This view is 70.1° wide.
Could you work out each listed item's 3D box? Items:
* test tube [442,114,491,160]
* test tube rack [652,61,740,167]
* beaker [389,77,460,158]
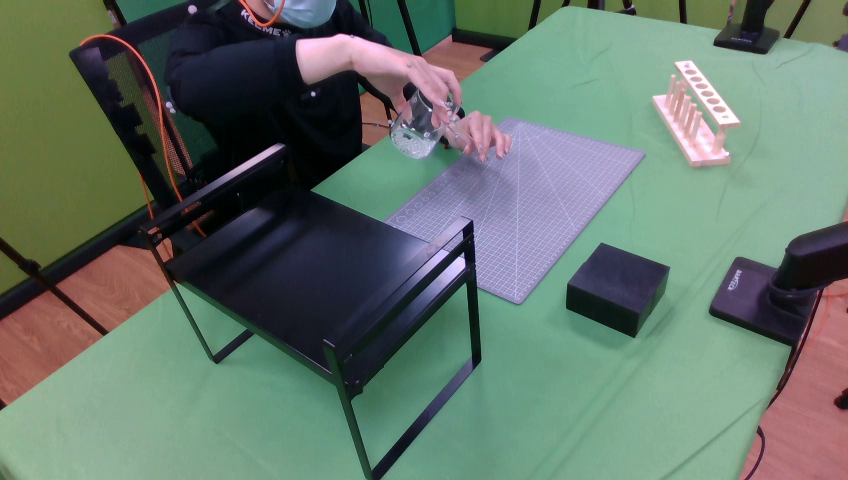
[{"bbox_3d":[0.073,-0.168,1.001,0.017,0.151,0.017,-12,66,30],"label":"test tube"},{"bbox_3d":[0.499,-0.242,1.130,0.067,0.085,0.241,-5,41,4],"label":"test tube rack"},{"bbox_3d":[0.000,-0.177,0.894,0.073,0.084,0.100,15,61,31],"label":"beaker"}]
